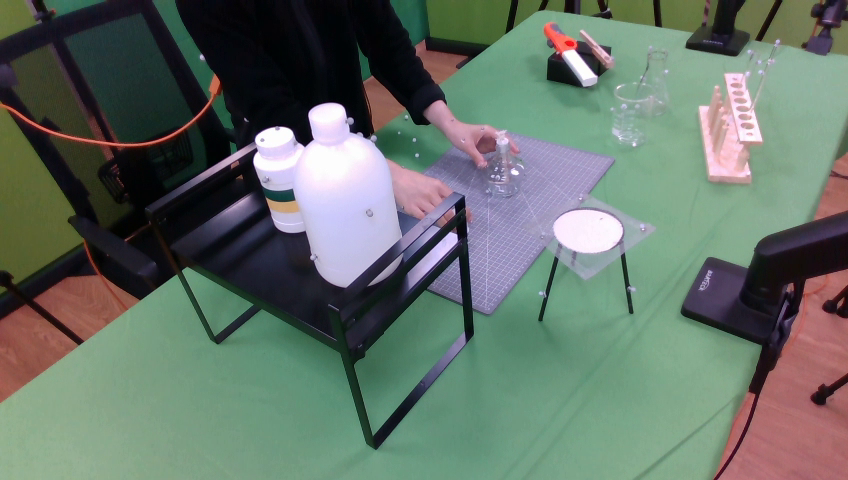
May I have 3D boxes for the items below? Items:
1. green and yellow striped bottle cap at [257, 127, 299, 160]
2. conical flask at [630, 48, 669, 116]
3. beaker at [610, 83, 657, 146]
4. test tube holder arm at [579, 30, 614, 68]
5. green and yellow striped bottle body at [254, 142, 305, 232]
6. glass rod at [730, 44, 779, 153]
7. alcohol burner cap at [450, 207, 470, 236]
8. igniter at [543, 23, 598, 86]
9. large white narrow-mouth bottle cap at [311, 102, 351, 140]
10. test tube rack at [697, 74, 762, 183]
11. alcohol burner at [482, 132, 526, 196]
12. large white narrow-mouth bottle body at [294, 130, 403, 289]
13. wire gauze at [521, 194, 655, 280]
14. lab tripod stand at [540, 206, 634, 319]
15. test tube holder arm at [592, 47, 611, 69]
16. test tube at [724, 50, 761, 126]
[{"bbox_3d":[-0.169,-0.112,0.698,0.045,0.020,0.045,-5,40,5],"label":"green and yellow striped bottle cap"},{"bbox_3d":[0.457,-0.317,1.205,0.075,0.122,0.075,-4,41,4],"label":"conical flask"},{"bbox_3d":[0.388,-0.235,1.138,0.074,0.101,0.083,-31,45,-25],"label":"beaker"},{"bbox_3d":[0.384,-0.428,1.351,0.013,0.015,0.177,-11,41,-3],"label":"test tube holder arm"},{"bbox_3d":[-0.165,-0.073,0.732,0.063,0.120,0.063,-4,41,4],"label":"green and yellow striped bottle body"},{"bbox_3d":[0.555,-0.233,1.020,0.008,0.200,0.008,2,39,-1],"label":"glass rod"},{"bbox_3d":[0.057,-0.032,0.986,0.034,0.048,0.033,-4,45,4],"label":"alcohol burner cap"},{"bbox_3d":[0.320,-0.419,1.345,0.057,0.025,0.274,-12,44,-3],"label":"igniter"},{"bbox_3d":[-0.089,-0.114,0.579,0.038,0.024,0.037,-4,40,3],"label":"large white narrow-mouth bottle cap"},{"bbox_3d":[0.547,-0.208,1.095,0.066,0.085,0.242,5,42,15],"label":"test tube rack"},{"bbox_3d":[0.137,-0.136,1.042,0.078,0.119,0.077,-4,43,4],"label":"alcohol burner"},{"bbox_3d":[-0.082,-0.047,0.634,0.102,0.195,0.101,-4,40,4],"label":"large white narrow-mouth bottle body"},{"bbox_3d":[0.207,-0.012,0.772,0.122,0.011,0.124,-28,44,-20],"label":"wire gauze"},{"bbox_3d":[0.218,0.034,0.821,0.148,0.132,0.147,-4,42,4],"label":"lab tripod stand"},{"bbox_3d":[0.386,-0.398,1.317,0.010,0.015,0.087,-10,41,-2],"label":"test tube holder arm"},{"bbox_3d":[0.570,-0.269,1.086,0.017,0.151,0.017,-1,46,1],"label":"test tube"}]
